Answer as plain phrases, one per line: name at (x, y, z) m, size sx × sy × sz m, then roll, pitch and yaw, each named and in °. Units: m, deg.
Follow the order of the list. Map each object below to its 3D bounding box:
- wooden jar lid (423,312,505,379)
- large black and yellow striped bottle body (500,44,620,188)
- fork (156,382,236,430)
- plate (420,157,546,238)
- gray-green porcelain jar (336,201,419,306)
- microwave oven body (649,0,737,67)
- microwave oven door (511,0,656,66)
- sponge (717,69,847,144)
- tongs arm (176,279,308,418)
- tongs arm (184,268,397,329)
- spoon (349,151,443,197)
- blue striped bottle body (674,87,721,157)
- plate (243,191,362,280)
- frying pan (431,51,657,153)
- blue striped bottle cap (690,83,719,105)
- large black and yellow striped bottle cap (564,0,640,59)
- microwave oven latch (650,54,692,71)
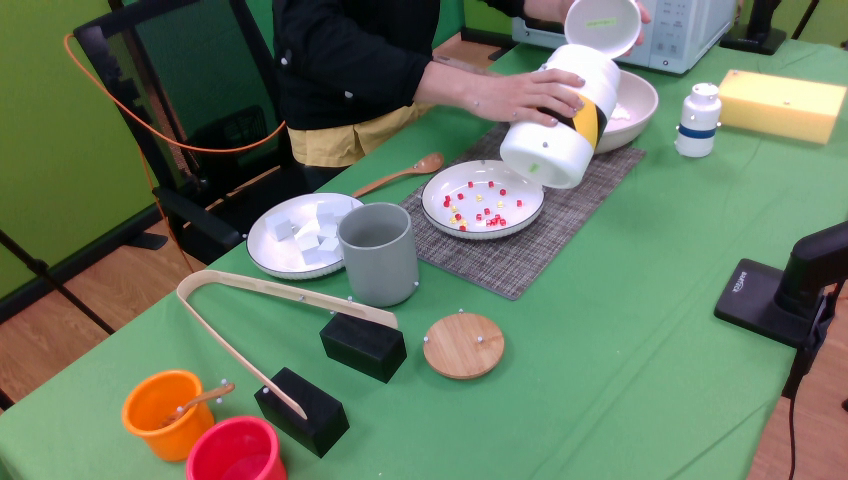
wooden jar lid at (0.053, 0.142, 0.800) m, size 0.108 × 0.021 × 0.108 m, roll -5°, pitch 39°, yaw 4°
large black and yellow striped bottle body at (0.209, -0.186, 0.913) m, size 0.130 × 0.132 × 0.184 m, roll 22°, pitch 81°, yaw 30°
fork at (-0.262, 0.189, 0.690) m, size 0.018 × 0.206 × 0.028 m, roll 49°, pitch 43°, yaw -7°
plate at (0.099, -0.067, 1.017) m, size 0.209 × 0.038 × 0.208 m, roll -4°, pitch 40°, yaw 4°
gray-green porcelain jar at (-0.064, 0.024, 0.872) m, size 0.106 × 0.127 × 0.105 m, roll -4°, pitch 41°, yaw 4°
microwave oven body at (0.475, -0.602, 1.411) m, size 0.438 × 0.261 × 0.327 m, roll 23°, pitch 50°, yaw 32°
microwave oven door at (0.351, -0.540, 1.349) m, size 0.353 × 0.245 × 0.039 m, roll 24°, pitch 50°, yaw 31°
sponge at (0.663, -0.256, 1.141) m, size 0.205 × 0.061 × 0.118 m, roll 19°, pitch 47°, yaw 28°
tongs arm at (-0.255, 0.132, 0.800) m, size 0.028 × 0.028 × 0.384 m, roll -41°, pitch 40°, yaw -23°
tongs arm at (-0.203, 0.084, 0.847) m, size 0.382 × 0.027 × 0.051 m, roll 11°, pitch 44°, yaw 35°
spoon at (-0.051, -0.122, 1.120) m, size 0.194 × 0.022 × 0.041 m, roll -22°, pitch 60°, yaw -18°
blue striped bottle body at (0.486, -0.213, 1.071) m, size 0.063 × 0.121 × 0.063 m, roll -4°, pitch 41°, yaw 4°
plate at (-0.188, -0.005, 0.992) m, size 0.207 × 0.039 × 0.206 m, roll -4°, pitch 41°, yaw 4°
frying pan at (0.215, -0.302, 1.223) m, size 0.484 × 0.103 × 0.308 m, roll 29°, pitch 50°, yaw 25°
blue striped bottle cap at (0.481, -0.251, 1.038) m, size 0.044 × 0.021 × 0.044 m, roll -5°, pitch 39°, yaw 5°
large black and yellow striped bottle cap at (0.279, -0.337, 0.947) m, size 0.114 × 0.115 × 0.019 m, roll 6°, pitch 47°, yaw 15°
microwave oven latch at (0.530, -0.386, 1.301) m, size 0.078 × 0.029 × 0.030 m, roll 24°, pitch 50°, yaw 32°
